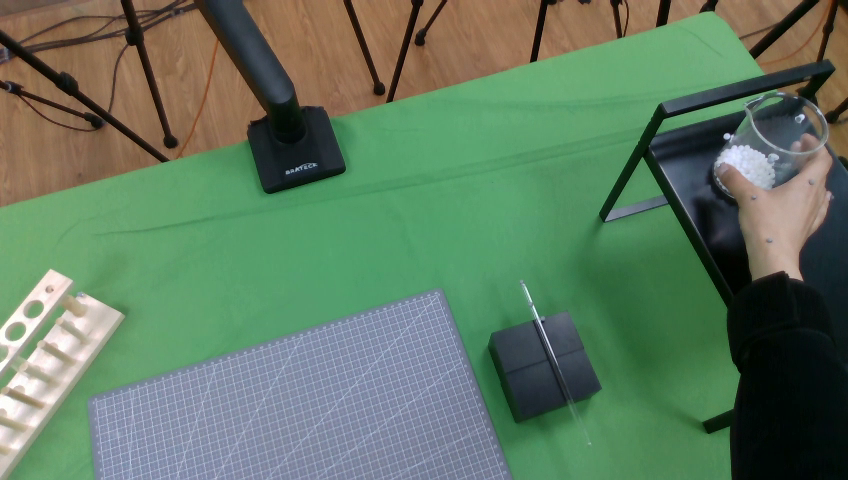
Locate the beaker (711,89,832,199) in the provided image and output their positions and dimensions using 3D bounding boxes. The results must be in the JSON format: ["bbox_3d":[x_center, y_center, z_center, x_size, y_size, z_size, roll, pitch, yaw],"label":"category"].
[{"bbox_3d":[0.346,-0.095,0.622,0.083,0.101,0.074,33,68,14],"label":"beaker"}]

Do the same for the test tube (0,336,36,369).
[{"bbox_3d":[-0.468,0.112,0.662,0.017,0.151,0.017,2,60,-2],"label":"test tube"}]

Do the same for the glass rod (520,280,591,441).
[{"bbox_3d":[0.151,0.135,0.704,0.008,0.008,0.198,-16,66,-8],"label":"glass rod"}]

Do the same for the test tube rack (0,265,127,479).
[{"bbox_3d":[-0.463,0.156,0.696,0.066,0.086,0.241,25,67,11],"label":"test tube rack"}]
